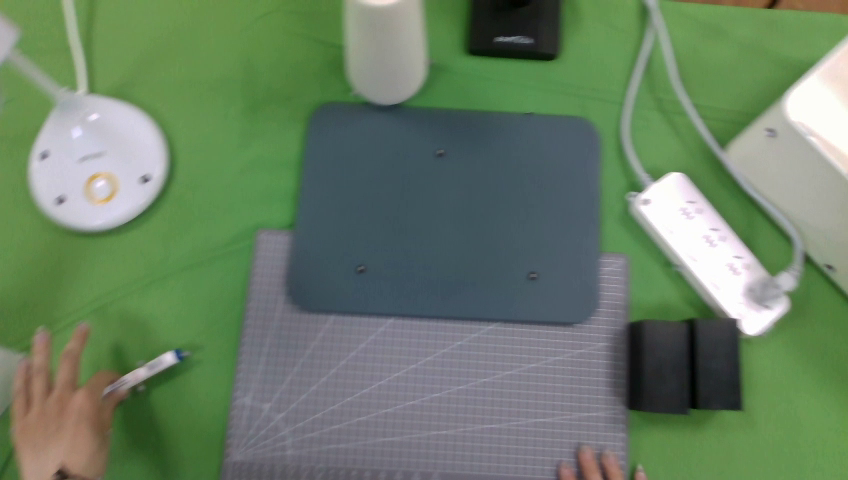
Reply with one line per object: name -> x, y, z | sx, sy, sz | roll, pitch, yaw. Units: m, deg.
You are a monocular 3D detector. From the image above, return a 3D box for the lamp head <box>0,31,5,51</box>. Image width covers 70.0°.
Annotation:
lamp head -> -0.354, -0.132, 0.377 | 0.112, 0.124, 0.111 | -23, 43, 23

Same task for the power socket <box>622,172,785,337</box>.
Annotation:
power socket -> 0.333, 0.016, 0.722 | 0.072, 0.033, 0.226 | -36, 81, -9

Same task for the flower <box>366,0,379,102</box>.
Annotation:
flower -> -0.046, -0.263, 0.603 | 0.044, 0.364, 0.038 | 40, 63, 13

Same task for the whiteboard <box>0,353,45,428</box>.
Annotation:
whiteboard -> -0.580, 0.140, 0.559 | 0.143, 0.308, 0.217 | 29, 78, 25

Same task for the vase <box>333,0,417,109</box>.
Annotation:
vase -> -0.055, -0.228, 0.680 | 0.098, 0.201, 0.097 | 1, 76, -2

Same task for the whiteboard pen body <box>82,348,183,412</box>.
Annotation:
whiteboard pen body -> -0.333, 0.160, 0.671 | 0.141, 0.017, 0.017 | -30, 79, -6

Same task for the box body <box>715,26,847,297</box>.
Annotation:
box body -> 0.554, -0.068, 0.681 | 0.254, 0.161, 0.363 | -41, 82, -10

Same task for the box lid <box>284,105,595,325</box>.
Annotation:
box lid -> 0.025, -0.034, 0.735 | 0.372, 0.015, 0.262 | 3, 77, -1

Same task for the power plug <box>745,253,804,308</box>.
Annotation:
power plug -> 0.402, 0.050, 0.693 | 0.072, 0.053, 0.035 | -26, 78, -12

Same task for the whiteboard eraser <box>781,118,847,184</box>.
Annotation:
whiteboard eraser -> 0.468, -0.093, 0.737 | 0.112, 0.042, 0.055 | 38, 81, 5

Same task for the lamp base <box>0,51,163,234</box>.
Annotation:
lamp base -> -0.400, -0.112, 0.653 | 0.160, 0.181, 0.178 | -27, 77, -7

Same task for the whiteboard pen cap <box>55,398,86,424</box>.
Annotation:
whiteboard pen cap -> -0.385, 0.187, 0.664 | 0.033, 0.018, 0.018 | -30, 80, -5
